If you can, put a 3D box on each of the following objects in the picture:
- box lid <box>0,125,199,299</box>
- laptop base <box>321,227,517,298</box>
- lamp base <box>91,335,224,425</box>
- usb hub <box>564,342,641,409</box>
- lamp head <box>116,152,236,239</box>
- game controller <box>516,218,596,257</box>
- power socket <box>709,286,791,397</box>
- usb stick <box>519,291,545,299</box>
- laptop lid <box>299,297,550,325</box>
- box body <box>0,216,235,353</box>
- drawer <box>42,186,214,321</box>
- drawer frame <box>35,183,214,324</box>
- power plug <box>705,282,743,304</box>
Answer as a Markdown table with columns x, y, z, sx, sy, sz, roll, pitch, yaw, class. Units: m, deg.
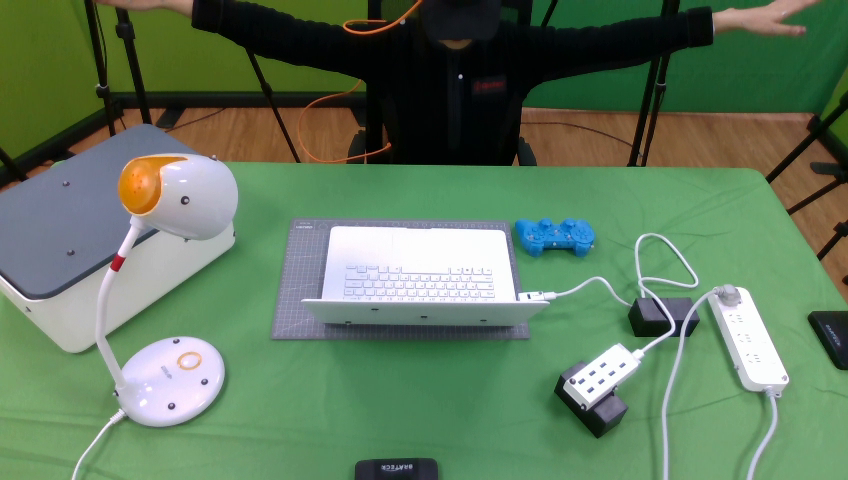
| x | y | z | sx | sy | sz | roll | pitch | yaw | class |
| --- | --- | --- | --- | --- | --- | --- | --- | --- | --- |
| -0.540 | -0.068 | 1.016 | 0.262 | 0.015 | 0.371 | 30 | 51 | 23 | box lid |
| -0.009 | 0.062 | 1.137 | 0.354 | 0.023 | 0.234 | 1 | 42 | -3 | laptop base |
| -0.401 | 0.170 | 0.892 | 0.160 | 0.181 | 0.179 | 30 | 53 | 23 | lamp base |
| 0.278 | 0.208 | 0.942 | 0.125 | 0.025 | 0.049 | -27 | 52 | -28 | usb hub |
| -0.315 | -0.057 | 0.747 | 0.112 | 0.112 | 0.123 | 26 | 10 | 20 | lamp head |
| 0.267 | -0.015 | 1.212 | 0.155 | 0.052 | 0.096 | 0 | 50 | -3 | game controller |
| 0.568 | 0.167 | 1.064 | 0.072 | 0.033 | 0.225 | 2 | 46 | -1 | power socket |
| 0.186 | 0.108 | 1.086 | 0.059 | 0.027 | 0.021 | -7 | 47 | 1 | usb stick |
| -0.002 | 0.114 | 0.943 | 0.357 | 0.242 | 0.013 | 1 | 74 | -4 | laptop lid |
| -0.550 | -0.007 | 1.068 | 0.253 | 0.161 | 0.363 | 30 | 51 | 23 | box body |
| -0.529 | 0.018 | 1.097 | 0.194 | 0.073 | 0.211 | 29 | 53 | 20 | drawer |
| -0.531 | 0.018 | 1.092 | 0.201 | 0.083 | 0.213 | 29 | 52 | 21 | drawer frame |
| 0.539 | 0.097 | 1.098 | 0.072 | 0.053 | 0.035 | 8 | 47 | 8 | power plug |
